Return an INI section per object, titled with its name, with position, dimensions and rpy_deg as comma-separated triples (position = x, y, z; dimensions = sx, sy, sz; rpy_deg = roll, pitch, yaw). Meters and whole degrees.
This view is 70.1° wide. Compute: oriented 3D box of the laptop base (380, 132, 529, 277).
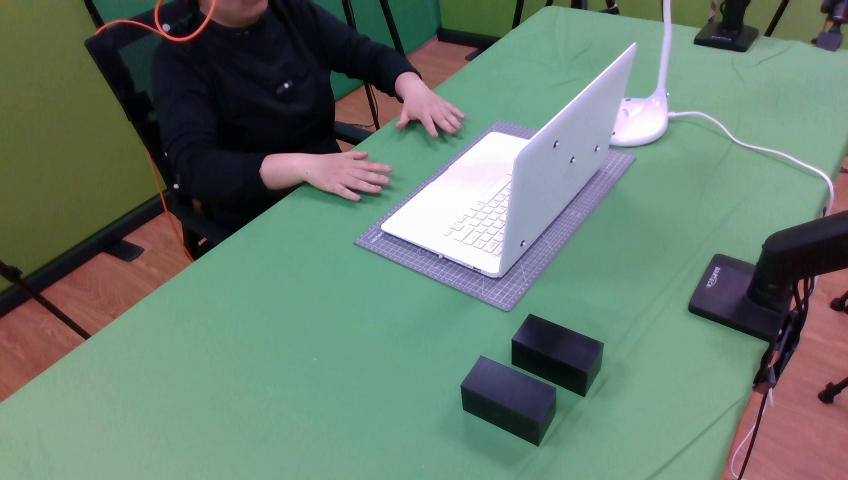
[laptop base]
position = 0.122, -0.077, 1.042
dimensions = 0.233, 0.023, 0.355
rpy_deg = 20, 47, 33

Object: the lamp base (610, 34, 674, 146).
[lamp base]
position = 0.392, -0.291, 1.129
dimensions = 0.180, 0.181, 0.159
rpy_deg = -11, 41, -8

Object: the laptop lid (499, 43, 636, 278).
[laptop lid]
position = 0.217, -0.122, 0.898
dimensions = 0.013, 0.242, 0.358
rpy_deg = 28, 50, 25
